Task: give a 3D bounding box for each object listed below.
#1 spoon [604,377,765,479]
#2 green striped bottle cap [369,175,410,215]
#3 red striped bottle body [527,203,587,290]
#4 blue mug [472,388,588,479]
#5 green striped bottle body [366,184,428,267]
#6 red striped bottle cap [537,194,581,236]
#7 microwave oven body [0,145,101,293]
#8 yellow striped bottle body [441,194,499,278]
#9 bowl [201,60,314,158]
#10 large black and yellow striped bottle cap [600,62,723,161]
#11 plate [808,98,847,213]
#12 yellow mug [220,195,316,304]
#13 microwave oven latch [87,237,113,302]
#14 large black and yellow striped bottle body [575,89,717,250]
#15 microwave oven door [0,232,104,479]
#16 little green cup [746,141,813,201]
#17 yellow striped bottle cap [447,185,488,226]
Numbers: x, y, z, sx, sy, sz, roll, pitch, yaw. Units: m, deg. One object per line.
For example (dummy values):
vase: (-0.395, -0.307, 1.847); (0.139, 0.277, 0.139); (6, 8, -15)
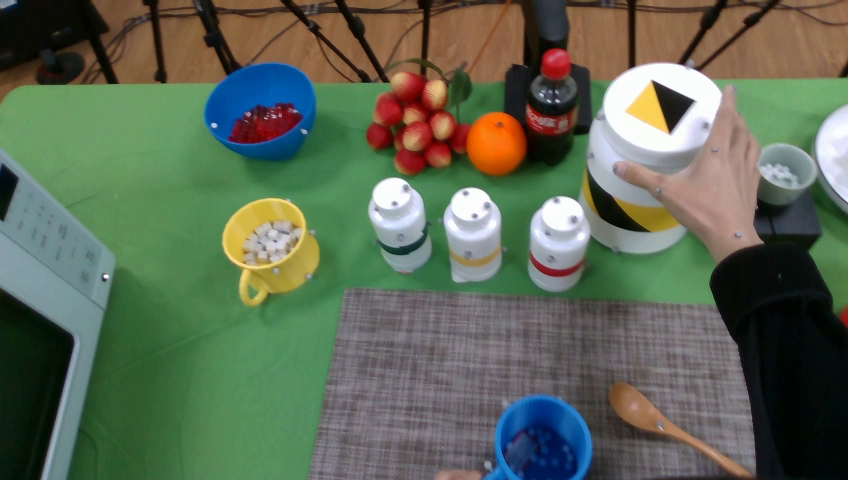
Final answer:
spoon: (0.263, 0.197, 0.593); (0.192, 0.022, 0.041); (31, 45, 22)
green striped bottle cap: (-0.038, -0.050, 0.662); (0.044, 0.020, 0.044); (-2, 59, 4)
red striped bottle body: (0.146, 0.001, 0.671); (0.063, 0.121, 0.062); (-5, 56, 7)
blue mug: (0.091, 0.203, 0.562); (0.116, 0.107, 0.081); (-30, 59, -10)
green striped bottle body: (-0.031, -0.022, 0.707); (0.063, 0.120, 0.062); (-3, 59, 5)
red striped bottle cap: (0.140, -0.027, 0.627); (0.044, 0.018, 0.044); (-1, 58, 2)
microwave oven body: (-0.553, 0.154, 0.578); (0.326, 0.262, 0.437); (-6, 60, 3)
yellow striped bottle body: (0.054, -0.011, 0.689); (0.063, 0.121, 0.062); (-3, 58, 6)
bowl: (-0.218, -0.167, 0.840); (0.151, 0.077, 0.150); (-3, 59, 5)
large black and yellow striped bottle cap: (0.233, -0.129, 0.599); (0.115, 0.019, 0.114); (-4, 60, 8)
plate: (0.566, -0.088, 0.721); (0.209, 0.038, 0.207); (-3, 60, 5)
yellow mug: (-0.193, 0.017, 0.734); (0.099, 0.064, 0.130); (11, 62, 13)
microwave oven latch: (-0.406, 0.037, 0.743); (0.030, 0.030, 0.078); (-5, 60, 4)
large black and yellow striped bottle body: (0.243, -0.086, 0.674); (0.130, 0.185, 0.129); (-3, 59, 6)
microwave oven door: (-0.406, 0.172, 0.544); (0.039, 0.246, 0.352); (-6, 59, 4)
little green cup: (0.392, -0.075, 0.675); (0.061, 0.039, 0.061); (-2, 58, 4)
yellow striped bottle cap: (0.047, -0.038, 0.645); (0.044, 0.019, 0.044); (-1, 56, 1)
